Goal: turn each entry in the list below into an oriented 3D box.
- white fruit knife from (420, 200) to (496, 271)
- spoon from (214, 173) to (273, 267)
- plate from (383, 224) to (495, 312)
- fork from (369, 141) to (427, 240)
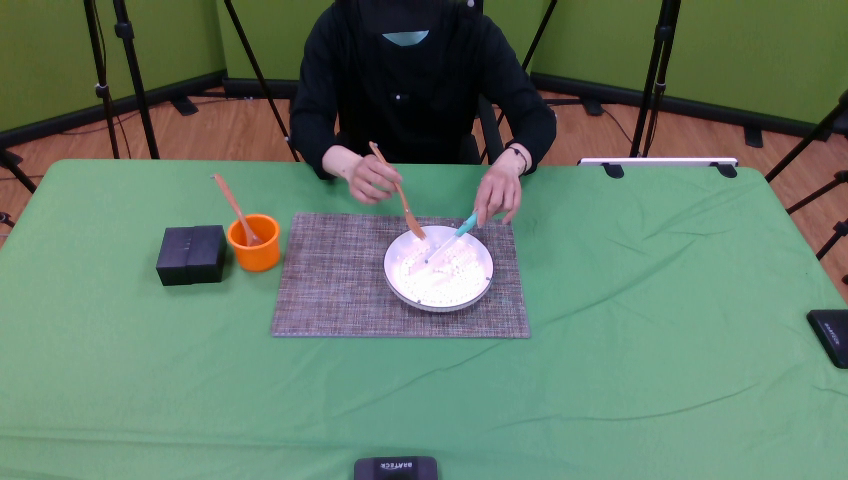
[{"bbox_3d":[0.065,-0.010,1.135,0.016,0.027,0.207,35,66,28],"label":"white fruit knife"},{"bbox_3d":[-0.336,-0.037,1.121,0.041,0.194,0.021,-29,10,-24],"label":"spoon"},{"bbox_3d":[0.026,0.055,1.128,0.209,0.038,0.208,2,46,-2],"label":"plate"},{"bbox_3d":[-0.048,-0.090,1.119,0.018,0.208,0.028,-17,15,35],"label":"fork"}]
